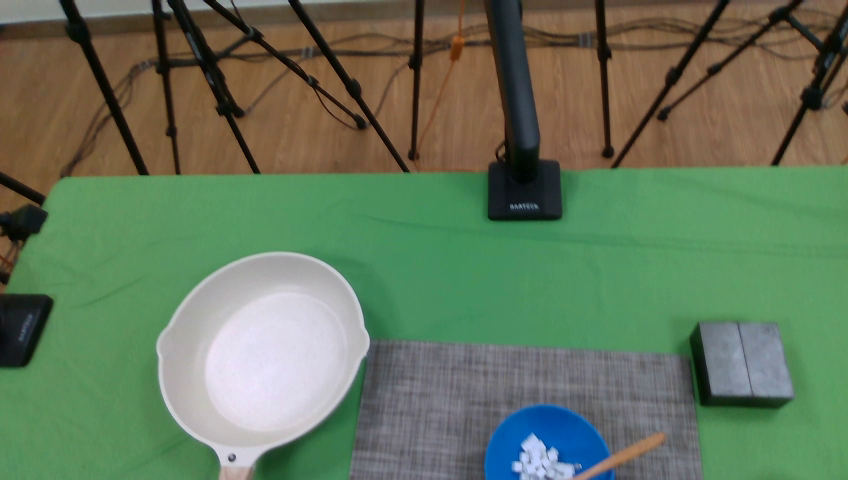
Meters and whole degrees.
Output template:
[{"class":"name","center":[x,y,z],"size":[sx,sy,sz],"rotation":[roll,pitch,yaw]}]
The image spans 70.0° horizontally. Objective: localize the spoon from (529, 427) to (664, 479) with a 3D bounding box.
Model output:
[{"class":"spoon","center":[0.194,0.268,0.708],"size":[0.194,0.022,0.041],"rotation":[-32,53,10]}]

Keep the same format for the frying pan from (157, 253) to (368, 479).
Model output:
[{"class":"frying pan","center":[-0.234,0.239,0.809],"size":[0.306,0.104,0.483],"rotation":[0,51,8]}]

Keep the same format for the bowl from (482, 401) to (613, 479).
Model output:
[{"class":"bowl","center":[0.150,0.282,0.743],"size":[0.151,0.077,0.150],"rotation":[-3,59,6]}]
